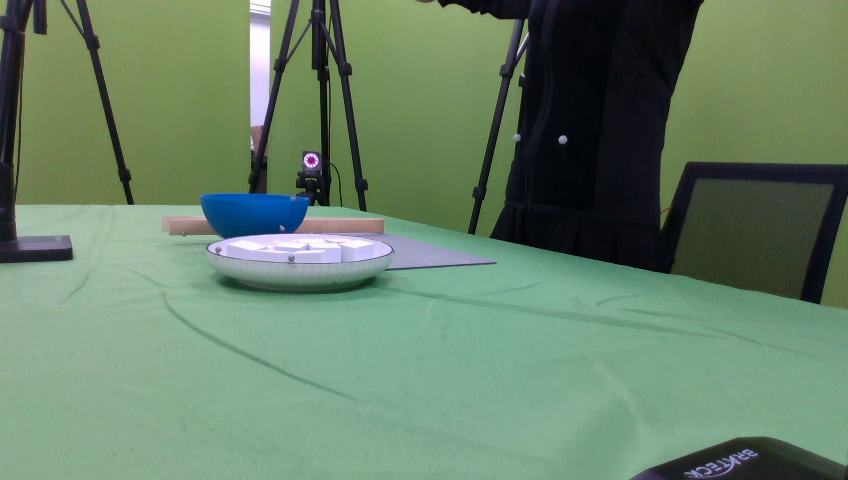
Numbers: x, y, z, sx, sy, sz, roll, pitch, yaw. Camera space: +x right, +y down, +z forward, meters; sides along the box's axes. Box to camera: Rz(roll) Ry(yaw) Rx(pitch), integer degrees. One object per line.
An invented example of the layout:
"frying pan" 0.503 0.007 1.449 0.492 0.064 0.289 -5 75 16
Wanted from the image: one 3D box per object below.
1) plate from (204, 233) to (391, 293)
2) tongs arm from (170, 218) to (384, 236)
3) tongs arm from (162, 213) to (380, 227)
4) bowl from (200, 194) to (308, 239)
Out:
"plate" -0.143 0.025 0.697 0.208 0.039 0.207 3 9 0
"tongs arm" -0.233 -0.024 1.039 0.387 0.026 0.050 -2 5 -32
"tongs arm" -0.271 -0.033 1.113 0.389 0.027 0.028 0 1 -18
"bowl" -0.245 -0.025 0.879 0.151 0.077 0.151 2 7 0
